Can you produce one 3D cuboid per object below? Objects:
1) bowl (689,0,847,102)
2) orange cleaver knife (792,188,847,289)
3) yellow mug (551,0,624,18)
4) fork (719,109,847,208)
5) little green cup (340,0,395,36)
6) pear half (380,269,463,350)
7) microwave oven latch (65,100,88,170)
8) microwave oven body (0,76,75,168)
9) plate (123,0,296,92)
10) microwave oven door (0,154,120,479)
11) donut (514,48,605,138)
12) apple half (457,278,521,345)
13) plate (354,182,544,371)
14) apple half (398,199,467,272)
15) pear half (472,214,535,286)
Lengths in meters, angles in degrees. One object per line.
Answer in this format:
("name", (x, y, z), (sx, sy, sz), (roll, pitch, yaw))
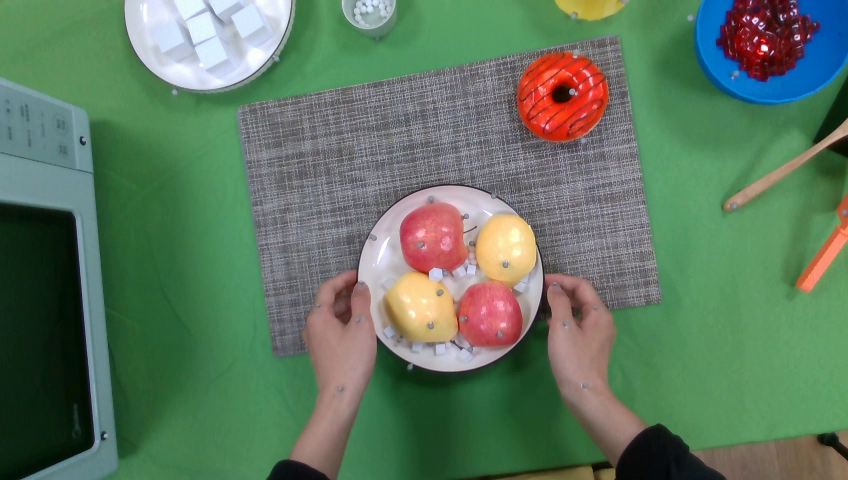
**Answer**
("bowl", (0.345, -0.210, 0.629), (0.151, 0.077, 0.151), (0, 89, 7))
("orange cleaver knife", (0.439, -0.045, 0.613), (0.012, 0.077, 0.212), (28, 118, 12))
("yellow mug", (0.167, -0.301, 0.657), (0.130, 0.064, 0.100), (1, 89, 7))
("fork", (0.395, -0.097, 0.616), (0.207, 0.018, 0.028), (-40, 93, 24))
("little green cup", (-0.062, -0.266, 0.696), (0.061, 0.039, 0.061), (0, 88, 7))
("pear half", (0.003, 0.084, 0.664), (0.110, 0.056, 0.076), (41, 98, 2))
("microwave oven latch", (-0.419, -0.123, 0.716), (0.030, 0.029, 0.079), (-4, 89, 6))
("microwave oven body", (-0.558, 0.066, 0.632), (0.326, 0.260, 0.441), (-6, 89, 6))
("plate", (-0.250, -0.275, 0.718), (0.207, 0.039, 0.207), (0, 89, 7))
("microwave oven door", (-0.410, 0.092, 0.609), (0.039, 0.244, 0.355), (-7, 88, 7))
("donut", (0.147, -0.161, 0.663), (0.099, 0.048, 0.099), (0, 90, 9))
("apple half", (0.063, 0.080, 0.655), (0.081, 0.033, 0.081), (3, 96, 29))
("plate", (0.028, 0.040, 0.676), (0.209, 0.038, 0.209), (0, 89, 7))
("apple half", (0.007, -0.004, 0.662), (0.074, 0.053, 0.081), (-4, 92, 8))
("pear half", (0.081, 0.015, 0.657), (0.070, 0.031, 0.088), (15, 93, 27))
